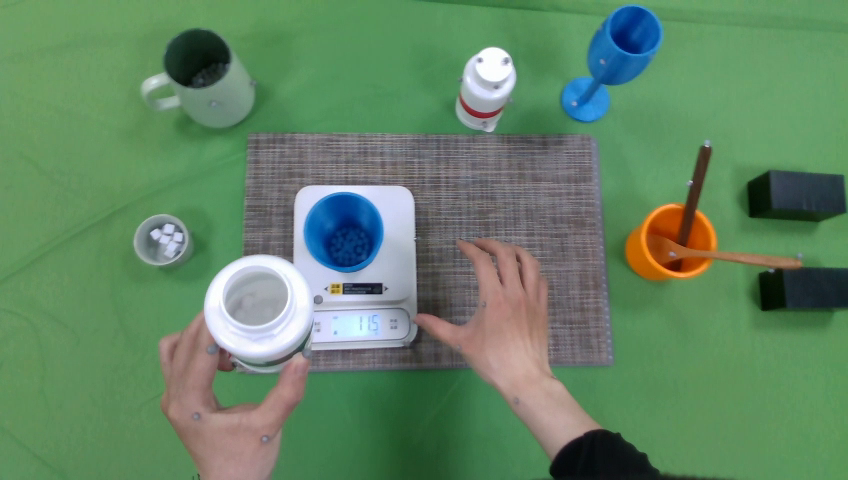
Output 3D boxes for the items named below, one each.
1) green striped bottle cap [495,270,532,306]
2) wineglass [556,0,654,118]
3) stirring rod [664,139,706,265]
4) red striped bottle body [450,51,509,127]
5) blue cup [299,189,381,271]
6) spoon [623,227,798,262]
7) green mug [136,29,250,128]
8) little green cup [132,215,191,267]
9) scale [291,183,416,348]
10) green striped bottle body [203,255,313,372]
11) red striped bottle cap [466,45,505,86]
[{"bbox_3d":[0.112,0.060,0.755,0.044,0.020,0.044,0,76,-1],"label":"green striped bottle cap"},{"bbox_3d":[0.214,-0.214,0.738,0.074,0.173,0.073,1,78,-3],"label":"wineglass"},{"bbox_3d":[0.310,-0.040,0.723,0.014,0.178,0.006,5,38,11],"label":"stirring rod"},{"bbox_3d":[0.069,-0.192,0.752,0.063,0.120,0.063,1,78,-4],"label":"red striped bottle body"},{"bbox_3d":[-0.089,-0.003,0.678,0.093,0.100,0.092,1,81,-3],"label":"blue cup"},{"bbox_3d":[0.330,0.011,0.715,0.022,0.192,0.041,17,83,-44],"label":"spoon"},{"bbox_3d":[-0.282,-0.187,0.735,0.125,0.105,0.092,-23,81,-8],"label":"green mug"},{"bbox_3d":[-0.311,0.004,0.728,0.061,0.039,0.061,1,78,-5],"label":"little green cup"},{"bbox_3d":[-0.087,0.028,0.739,0.149,0.031,0.200,-2,79,-4],"label":"scale"},{"bbox_3d":[-0.104,0.049,0.393,0.063,0.119,0.063,3,72,-9],"label":"green striped bottle body"},{"bbox_3d":[0.072,-0.202,0.699,0.044,0.018,0.044,1,75,-3],"label":"red striped bottle cap"}]
